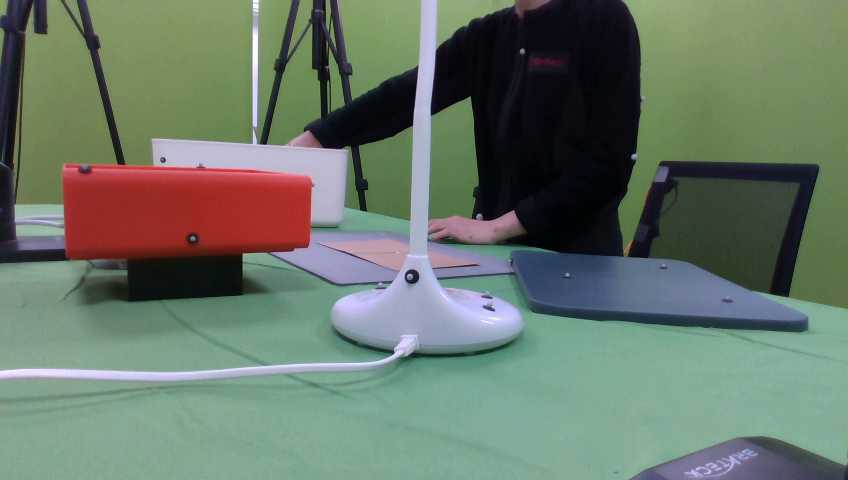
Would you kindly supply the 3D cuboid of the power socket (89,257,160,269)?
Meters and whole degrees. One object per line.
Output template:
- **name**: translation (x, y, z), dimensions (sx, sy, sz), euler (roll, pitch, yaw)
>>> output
- **power socket**: translation (-0.409, 0.004, 0.793), dimensions (0.072, 0.032, 0.225), euler (-2, 8, -38)

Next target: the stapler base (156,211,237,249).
- **stapler base**: translation (-0.227, -0.017, 0.624), dimensions (0.041, 0.024, 0.130), euler (19, 10, -2)

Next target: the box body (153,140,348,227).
- **box body**: translation (-0.357, -0.119, 1.264), dimensions (0.365, 0.160, 0.253), euler (0, 7, -18)

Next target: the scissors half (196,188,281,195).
- **scissors half**: translation (-0.381, -0.098, 1.243), dimensions (0.175, 0.013, 0.040), euler (-1, -1, -2)

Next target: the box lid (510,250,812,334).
- **box lid**: translation (0.246, 0.052, 0.733), dimensions (0.263, 0.015, 0.371), euler (4, 7, 3)

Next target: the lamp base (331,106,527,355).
- **lamp base**: translation (0.006, -0.012, 0.478), dimensions (0.161, 0.180, 0.179), euler (2, 10, 2)

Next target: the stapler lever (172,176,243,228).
- **stapler lever**: translation (-0.217, -0.041, 0.618), dimensions (0.027, 0.040, 0.118), euler (19, 11, -2)

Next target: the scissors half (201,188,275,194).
- **scissors half**: translation (-0.385, -0.096, 1.223), dimensions (0.175, 0.013, 0.040), euler (-1, 5, 17)

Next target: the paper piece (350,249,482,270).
- **paper piece**: translation (-0.013, 0.026, 0.842), dimensions (0.139, 0.008, 0.135), euler (0, 11, -32)

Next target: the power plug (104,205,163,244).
- **power plug**: translation (-0.390, -0.021, 0.815), dimensions (0.073, 0.052, 0.035), euler (-1, 7, -27)

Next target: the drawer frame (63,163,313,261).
- **drawer frame**: translation (-0.248, -0.036, 0.626), dimensions (0.215, 0.082, 0.200), euler (-3, 9, -31)

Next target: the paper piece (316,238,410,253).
- **paper piece**: translation (-0.083, 0.008, 0.952), dimensions (0.136, 0.004, 0.134), euler (-2, 9, -31)

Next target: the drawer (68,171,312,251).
- **drawer**: translation (-0.247, -0.036, 0.629), dimensions (0.213, 0.073, 0.193), euler (-3, 9, -30)
